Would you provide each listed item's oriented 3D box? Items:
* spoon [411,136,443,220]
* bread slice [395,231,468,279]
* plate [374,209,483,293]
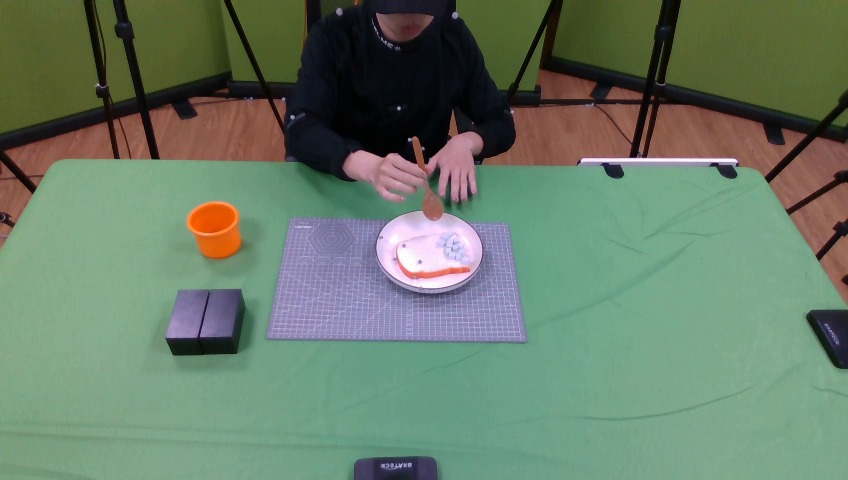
[{"bbox_3d":[0.003,-0.109,1.106,0.041,0.195,0.021,-3,49,12],"label":"spoon"},{"bbox_3d":[0.011,0.030,1.159,0.132,0.019,0.104,-8,47,-15],"label":"bread slice"},{"bbox_3d":[0.009,0.024,1.160,0.209,0.038,0.208,2,46,-2],"label":"plate"}]
